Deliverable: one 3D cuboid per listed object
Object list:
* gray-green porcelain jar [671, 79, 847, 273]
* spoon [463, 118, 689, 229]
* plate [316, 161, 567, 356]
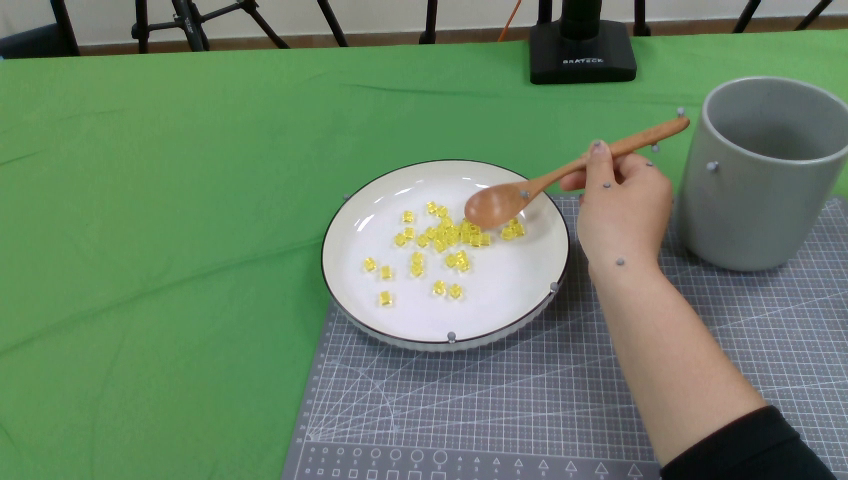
[{"bbox_3d":[0.259,-0.045,0.479,0.106,0.128,0.105,-4,47,4],"label":"gray-green porcelain jar"},{"bbox_3d":[0.119,-0.055,0.498,0.193,0.022,0.041,-24,58,28],"label":"spoon"},{"bbox_3d":[0.014,0.014,0.516,0.207,0.039,0.205,-3,47,4],"label":"plate"}]
